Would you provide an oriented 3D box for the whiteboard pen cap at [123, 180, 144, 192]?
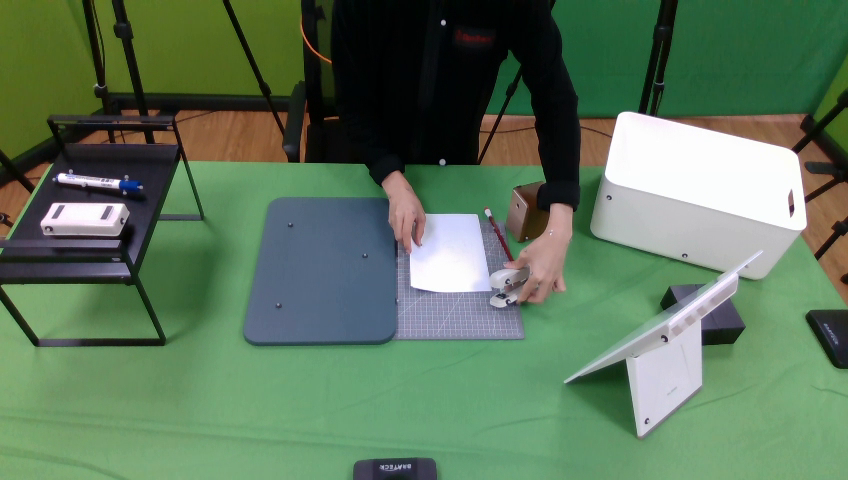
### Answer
[{"bbox_3d":[-0.479,-0.089,0.993,0.033,0.018,0.018,7,46,14],"label":"whiteboard pen cap"}]

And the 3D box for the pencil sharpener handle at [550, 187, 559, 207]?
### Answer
[{"bbox_3d":[0.261,-0.084,1.221,0.031,0.068,0.036,-16,65,-19],"label":"pencil sharpener handle"}]

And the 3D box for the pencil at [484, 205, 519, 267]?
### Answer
[{"bbox_3d":[0.157,-0.002,1.218,0.012,0.012,0.192,-10,48,-14],"label":"pencil"}]

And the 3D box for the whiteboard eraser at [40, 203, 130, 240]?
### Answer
[{"bbox_3d":[-0.513,-0.028,0.922,0.113,0.042,0.055,1,48,-3],"label":"whiteboard eraser"}]

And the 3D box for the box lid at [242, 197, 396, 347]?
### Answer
[{"bbox_3d":[-0.186,0.046,1.147,0.263,0.015,0.369,0,46,-3],"label":"box lid"}]

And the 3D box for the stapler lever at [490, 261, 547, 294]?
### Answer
[{"bbox_3d":[0.171,0.061,1.108,0.118,0.040,0.026,-26,24,-26],"label":"stapler lever"}]

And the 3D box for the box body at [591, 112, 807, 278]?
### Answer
[{"bbox_3d":[0.540,-0.092,1.229,0.363,0.161,0.253,16,47,11],"label":"box body"}]

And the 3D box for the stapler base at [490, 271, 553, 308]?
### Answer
[{"bbox_3d":[0.177,0.083,1.115,0.130,0.024,0.041,-25,24,-26],"label":"stapler base"}]

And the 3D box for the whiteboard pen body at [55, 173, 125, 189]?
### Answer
[{"bbox_3d":[-0.539,-0.095,0.998,0.141,0.017,0.017,6,46,6],"label":"whiteboard pen body"}]

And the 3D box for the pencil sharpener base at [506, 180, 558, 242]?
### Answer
[{"bbox_3d":[0.216,-0.058,1.211,0.077,0.107,0.061,-16,49,-19],"label":"pencil sharpener base"}]

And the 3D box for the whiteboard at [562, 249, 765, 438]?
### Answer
[{"bbox_3d":[0.386,0.175,0.905,0.217,0.306,0.143,-26,72,-26],"label":"whiteboard"}]
